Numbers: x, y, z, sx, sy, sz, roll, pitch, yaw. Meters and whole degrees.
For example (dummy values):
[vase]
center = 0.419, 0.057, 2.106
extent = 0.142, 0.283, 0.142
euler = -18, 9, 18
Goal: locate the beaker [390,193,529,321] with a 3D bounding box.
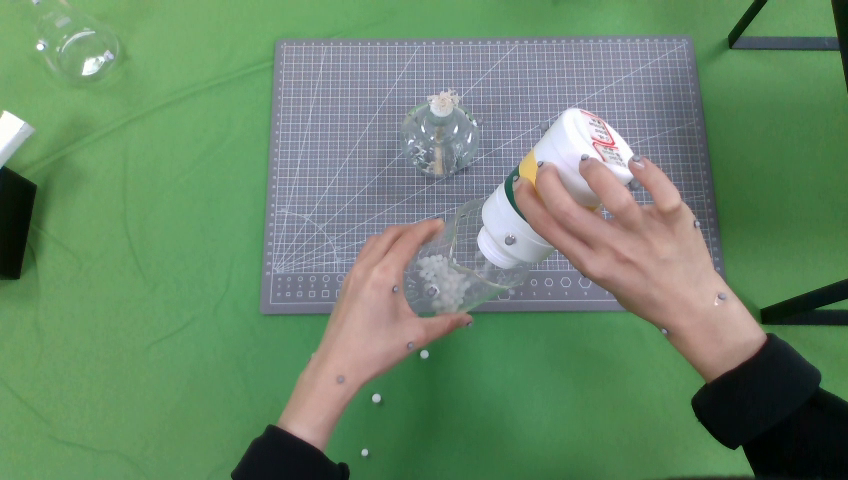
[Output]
[beaker]
center = 0.023, 0.020, 0.488
extent = 0.084, 0.100, 0.074
euler = -24, 80, -42

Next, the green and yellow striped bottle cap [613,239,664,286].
[green and yellow striped bottle cap]
center = 0.208, 0.021, 0.585
extent = 0.045, 0.020, 0.045
euler = 0, 76, 0

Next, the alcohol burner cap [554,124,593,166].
[alcohol burner cap]
center = 0.151, -0.097, 0.602
extent = 0.034, 0.048, 0.033
euler = 0, 75, 0

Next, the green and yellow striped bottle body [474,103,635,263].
[green and yellow striped bottle body]
center = 0.085, -0.033, 0.430
extent = 0.063, 0.120, 0.062
euler = 22, 41, -21

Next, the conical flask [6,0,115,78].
[conical flask]
center = -0.370, -0.221, 0.598
extent = 0.075, 0.122, 0.075
euler = 0, 75, 1

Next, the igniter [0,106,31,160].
[igniter]
center = -0.459, -0.006, 0.544
extent = 0.057, 0.025, 0.276
euler = 29, 76, 17

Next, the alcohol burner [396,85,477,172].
[alcohol burner]
center = 0.012, -0.110, 0.569
extent = 0.078, 0.119, 0.077
euler = 0, 74, -1
